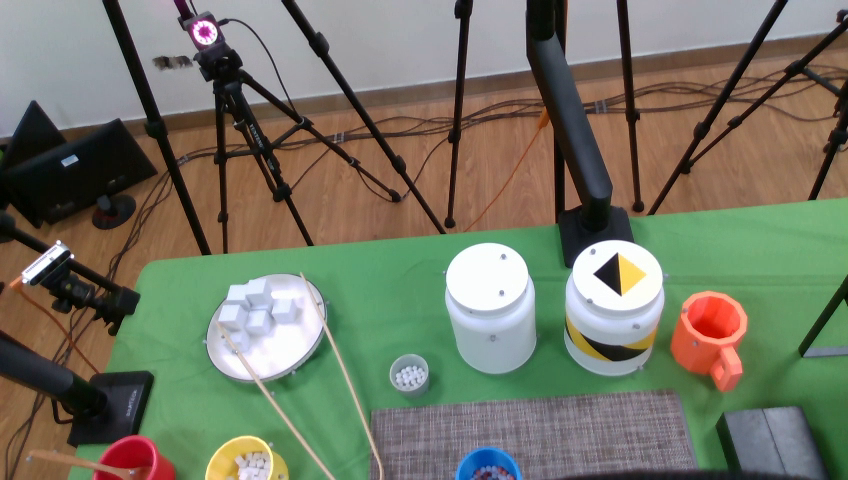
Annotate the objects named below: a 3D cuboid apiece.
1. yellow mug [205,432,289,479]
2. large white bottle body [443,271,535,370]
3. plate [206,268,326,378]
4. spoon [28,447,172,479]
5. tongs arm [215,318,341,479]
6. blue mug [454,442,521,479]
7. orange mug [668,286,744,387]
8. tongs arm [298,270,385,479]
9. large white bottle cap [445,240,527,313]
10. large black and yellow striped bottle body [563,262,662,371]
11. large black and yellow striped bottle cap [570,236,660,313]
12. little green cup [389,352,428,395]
[{"bbox_3d":[-0.263,0.347,0.867,0.099,0.064,0.130,29,64,28],"label":"yellow mug"},{"bbox_3d":[0.100,0.099,0.907,0.130,0.186,0.129,-5,52,8],"label":"large white bottle body"},{"bbox_3d":[-0.265,0.144,1.039,0.207,0.039,0.205,-5,53,7],"label":"plate"},{"bbox_3d":[-0.463,0.325,0.874,0.195,0.021,0.041,26,54,-24],"label":"spoon"},{"bbox_3d":[-0.205,0.243,0.928,0.051,0.027,0.381,-35,62,-19],"label":"tongs arm"},{"bbox_3d":[0.096,0.330,0.779,0.082,0.107,0.115,-37,55,-16],"label":"blue mug"},{"bbox_3d":[0.411,0.141,0.869,0.083,0.102,0.125,-14,48,1],"label":"orange mug"},{"bbox_3d":[-0.135,0.201,0.949,0.028,0.028,0.383,-20,59,-15],"label":"tongs arm"},{"bbox_3d":[0.085,0.049,0.839,0.115,0.018,0.113,-6,53,8],"label":"large white bottle cap"},{"bbox_3d":[0.269,0.095,0.877,0.130,0.186,0.129,-6,52,8],"label":"large black and yellow striped bottle body"},{"bbox_3d":[0.255,0.044,0.811,0.115,0.019,0.114,-4,53,6],"label":"large black and yellow striped bottle cap"},{"bbox_3d":[-0.022,0.209,0.941,0.061,0.039,0.061,-5,53,7],"label":"little green cup"}]
